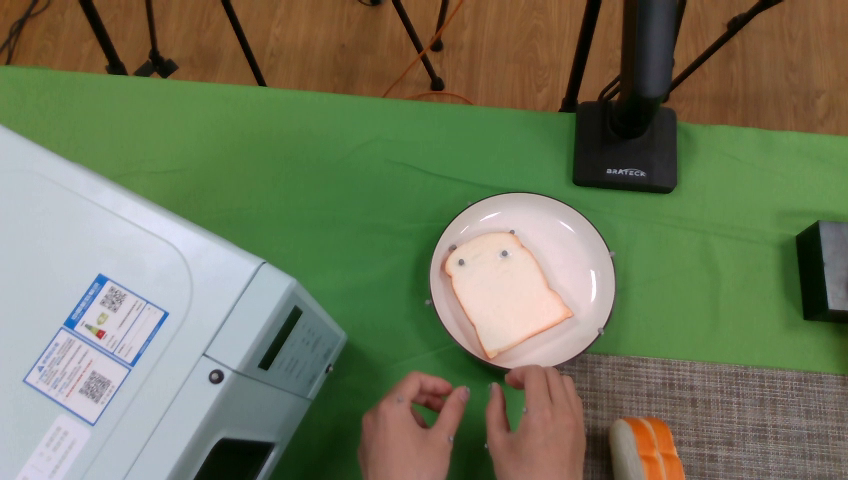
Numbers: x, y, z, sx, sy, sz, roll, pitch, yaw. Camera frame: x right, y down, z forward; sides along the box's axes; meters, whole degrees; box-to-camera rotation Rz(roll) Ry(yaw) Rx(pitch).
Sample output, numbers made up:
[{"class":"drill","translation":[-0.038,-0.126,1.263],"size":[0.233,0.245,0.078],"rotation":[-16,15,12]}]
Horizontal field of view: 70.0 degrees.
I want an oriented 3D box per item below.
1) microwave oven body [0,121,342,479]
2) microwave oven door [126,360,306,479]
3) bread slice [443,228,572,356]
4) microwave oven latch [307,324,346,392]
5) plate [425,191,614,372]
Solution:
[{"class":"microwave oven body","translation":[-0.333,0.176,0.540],"size":[0.325,0.262,0.440],"rotation":[26,75,11]},{"class":"microwave oven door","translation":[-0.227,0.271,0.496],"size":[0.039,0.245,0.354],"rotation":[26,74,10]},{"class":"bread slice","translation":[0.083,0.053,0.681],"size":[0.107,0.018,0.133],"rotation":[-29,71,-10]},{"class":"microwave oven latch","translation":[-0.113,0.122,0.650],"size":[0.030,0.030,0.079],"rotation":[28,75,11]},{"class":"plate","translation":[0.106,0.046,0.684],"size":[0.207,0.039,0.206],"rotation":[-1,71,2]}]
